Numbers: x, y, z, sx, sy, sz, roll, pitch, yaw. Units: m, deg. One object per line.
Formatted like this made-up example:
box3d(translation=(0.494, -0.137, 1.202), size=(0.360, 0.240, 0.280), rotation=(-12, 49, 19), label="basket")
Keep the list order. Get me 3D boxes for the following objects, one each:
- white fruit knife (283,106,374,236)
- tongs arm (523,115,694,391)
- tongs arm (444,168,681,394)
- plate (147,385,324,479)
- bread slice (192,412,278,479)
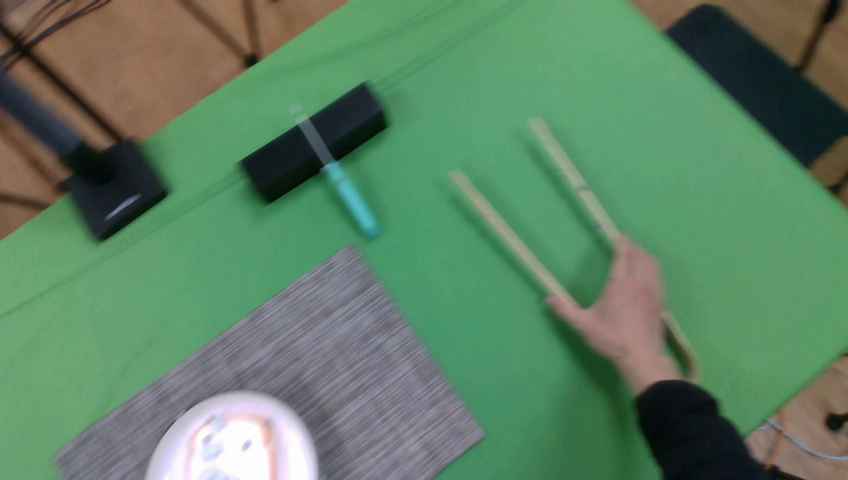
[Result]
box3d(translation=(-0.129, -0.093, 0.799), size=(0.016, 0.027, 0.207), rotation=(-35, 87, -7), label="white fruit knife")
box3d(translation=(0.214, 0.007, 0.750), size=(0.051, 0.026, 0.382), rotation=(-31, 76, -7), label="tongs arm")
box3d(translation=(0.157, 0.046, 0.743), size=(0.028, 0.028, 0.385), rotation=(-40, 77, -13), label="tongs arm")
box3d(translation=(-0.217, 0.277, 0.711), size=(0.207, 0.039, 0.206), rotation=(-1, 73, 5), label="plate")
box3d(translation=(-0.223, 0.273, 0.715), size=(0.107, 0.018, 0.133), rotation=(-13, 74, 1), label="bread slice")
